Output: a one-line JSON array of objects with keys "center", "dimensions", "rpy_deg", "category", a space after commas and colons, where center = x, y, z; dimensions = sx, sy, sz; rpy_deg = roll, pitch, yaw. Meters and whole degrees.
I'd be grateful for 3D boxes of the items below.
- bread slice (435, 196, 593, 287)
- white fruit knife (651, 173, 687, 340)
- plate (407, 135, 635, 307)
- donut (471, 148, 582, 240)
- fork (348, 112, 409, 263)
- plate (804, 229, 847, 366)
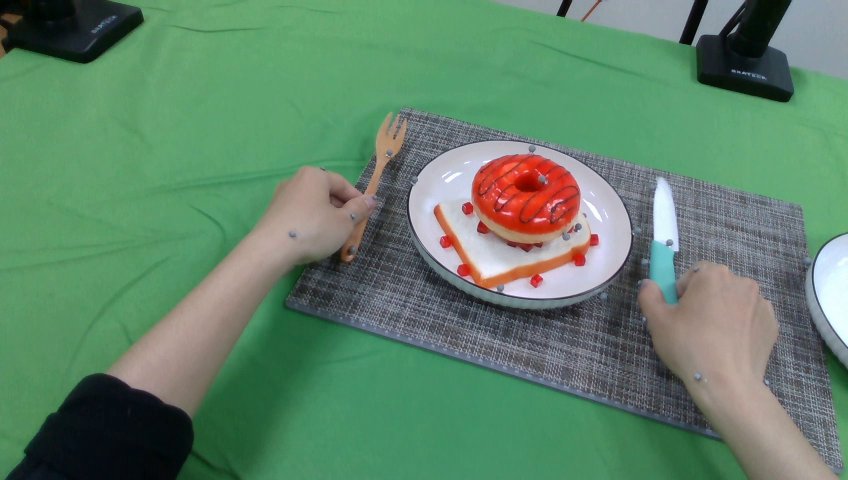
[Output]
[{"center": [0.089, -0.015, 0.564], "dimensions": [0.132, 0.019, 0.103], "rpy_deg": [-16, 53, -19], "category": "bread slice"}, {"center": [0.224, 0.005, 0.562], "dimensions": [0.027, 0.016, 0.206], "rpy_deg": [9, 47, 10], "category": "white fruit knife"}, {"center": [0.087, -0.019, 0.566], "dimensions": [0.209, 0.038, 0.207], "rpy_deg": [3, 49, -3], "category": "plate"}, {"center": [0.091, -0.042, 0.539], "dimensions": [0.099, 0.048, 0.098], "rpy_deg": [3, 48, -3], "category": "donut"}, {"center": [-0.043, -0.058, 0.585], "dimensions": [0.028, 0.019, 0.205], "rpy_deg": [-3, 44, 18], "category": "fork"}, {"center": [0.434, 0.075, 0.525], "dimensions": [0.208, 0.039, 0.205], "rpy_deg": [3, 48, -3], "category": "plate"}]
